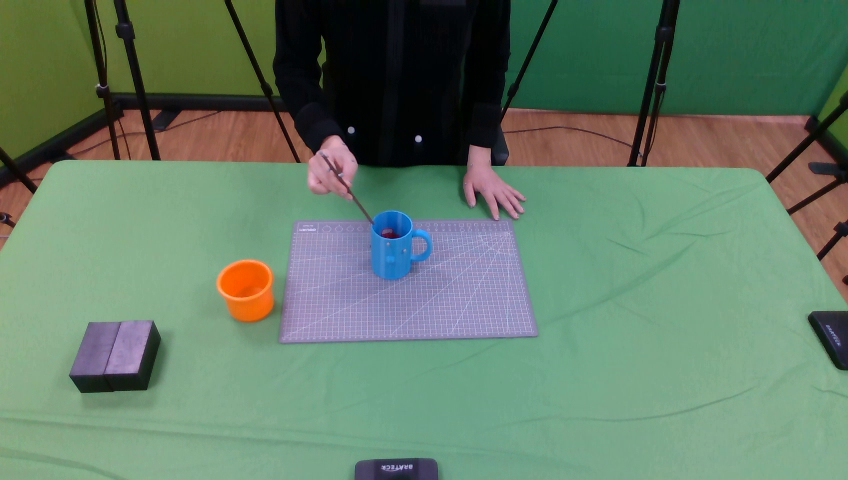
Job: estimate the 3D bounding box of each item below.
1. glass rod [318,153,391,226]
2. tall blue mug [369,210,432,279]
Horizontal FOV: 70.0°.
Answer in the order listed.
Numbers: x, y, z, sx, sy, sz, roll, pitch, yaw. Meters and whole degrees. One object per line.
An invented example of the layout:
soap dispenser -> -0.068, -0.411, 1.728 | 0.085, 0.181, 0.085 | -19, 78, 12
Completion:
glass rod -> -0.112, -0.079, 1.003 | 0.008, 0.201, 0.008 | -20, 47, 23
tall blue mug -> -0.048, 0.005, 1.125 | 0.107, 0.108, 0.077 | -19, 50, -21
